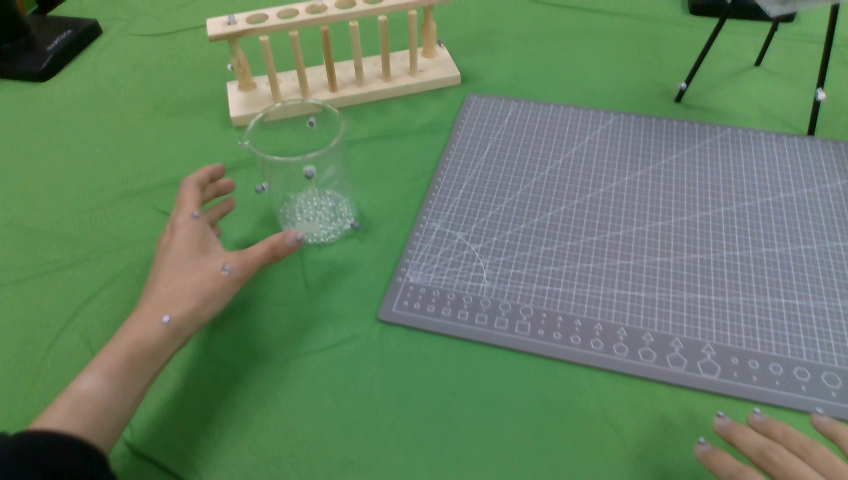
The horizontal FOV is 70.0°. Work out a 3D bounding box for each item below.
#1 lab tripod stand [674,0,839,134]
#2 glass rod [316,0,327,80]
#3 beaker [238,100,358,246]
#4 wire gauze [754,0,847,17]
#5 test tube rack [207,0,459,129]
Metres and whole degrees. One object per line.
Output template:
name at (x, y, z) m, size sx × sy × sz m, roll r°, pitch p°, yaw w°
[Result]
lab tripod stand at (0.329, -0.188, 0.572) m, size 0.148 × 0.132 × 0.147 m, roll 0°, pitch 48°, yaw 1°
glass rod at (-0.102, -0.237, 0.580) m, size 0.008 × 0.201 × 0.008 m, roll 1°, pitch 51°, yaw -1°
beaker at (-0.097, -0.050, 0.492) m, size 0.084 × 0.101 × 0.073 m, roll -11°, pitch 48°, yaw -6°
wire gauze at (0.321, -0.233, 0.521) m, size 0.121 × 0.011 × 0.123 m, roll -9°, pitch 49°, yaw -6°
test tube rack at (-0.088, -0.191, 0.628) m, size 0.243 × 0.086 × 0.066 m, roll -13°, pitch 49°, yaw -9°
